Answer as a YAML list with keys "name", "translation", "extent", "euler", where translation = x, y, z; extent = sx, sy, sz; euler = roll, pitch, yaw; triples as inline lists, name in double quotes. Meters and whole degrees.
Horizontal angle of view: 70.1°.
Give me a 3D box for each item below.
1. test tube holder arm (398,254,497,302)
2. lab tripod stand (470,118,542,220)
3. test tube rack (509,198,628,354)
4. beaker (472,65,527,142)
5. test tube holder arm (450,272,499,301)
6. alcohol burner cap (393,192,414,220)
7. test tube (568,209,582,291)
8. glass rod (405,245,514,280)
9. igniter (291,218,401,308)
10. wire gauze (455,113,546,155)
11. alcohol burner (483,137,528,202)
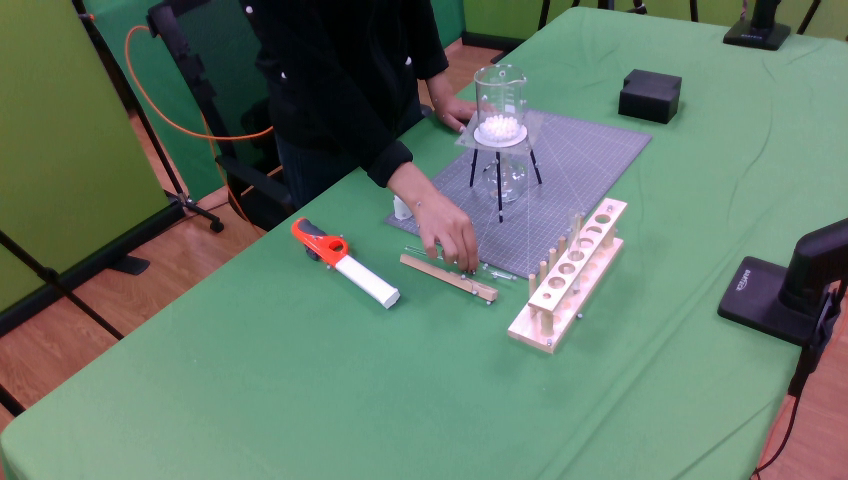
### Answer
- name: "test tube holder arm"
  translation: [0.031, 0.055, 0.913]
  extent: [0.177, 0.015, 0.013]
  euler: [21, 13, 31]
- name: "lab tripod stand"
  translation: [0.135, -0.128, 1.019]
  extent: [0.148, 0.132, 0.147]
  euler: [-5, 38, 5]
- name: "test tube rack"
  translation: [0.206, 0.039, 0.850]
  extent: [0.066, 0.085, 0.243]
  euler: [20, 48, 31]
- name: "beaker"
  translation: [0.120, -0.211, 0.942]
  extent: [0.083, 0.101, 0.074]
  euler: [10, 42, 22]
- name: "test tube holder arm"
  translation: [0.070, 0.068, 0.894]
  extent: [0.087, 0.015, 0.010]
  euler: [21, 13, 32]
- name: "alcohol burner cap"
  translation: [-0.038, -0.061, 1.043]
  extent: [0.034, 0.048, 0.033]
  euler: [-5, 41, 5]
- name: "test tube"
  translation: [0.200, 0.018, 0.799]
  extent: [0.017, 0.151, 0.017]
  euler: [-8, 45, 8]
- name: "glass rod"
  translation: [0.051, 0.034, 0.942]
  extent: [0.198, 0.008, 0.008]
  euler: [15, 46, 31]
- name: "igniter"
  translation: [-0.135, 0.030, 0.970]
  extent: [0.057, 0.025, 0.274]
  euler: [-42, 49, -20]
- name: "wire gauze"
  translation: [0.124, -0.175, 0.973]
  extent: [0.124, 0.011, 0.121]
  euler: [8, 39, 21]
- name: "alcohol burner"
  translation: [0.138, -0.125, 1.030]
  extent: [0.078, 0.119, 0.077]
  euler: [-4, 41, 4]
